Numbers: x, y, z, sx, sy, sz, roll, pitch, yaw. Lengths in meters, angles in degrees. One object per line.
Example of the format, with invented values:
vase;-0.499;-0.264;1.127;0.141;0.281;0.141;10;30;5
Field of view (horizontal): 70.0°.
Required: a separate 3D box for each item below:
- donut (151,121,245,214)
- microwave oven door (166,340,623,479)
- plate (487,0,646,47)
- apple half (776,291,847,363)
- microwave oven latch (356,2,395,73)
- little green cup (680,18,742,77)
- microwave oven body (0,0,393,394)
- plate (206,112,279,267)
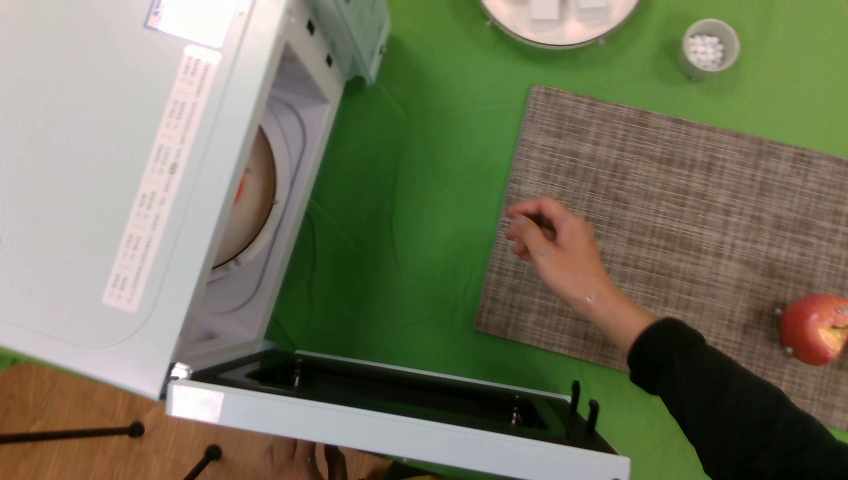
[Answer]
donut;-0.239;-0.076;0.643;0.099;0.048;0.099;0;89;3
microwave oven door;-0.019;0.152;0.573;0.356;0.244;0.039;9;86;3
plate;0.166;-0.325;0.713;0.207;0.039;0.207;0;87;3
apple half;0.416;0.087;0.656;0.053;0.075;0.081;34;92;8
microwave oven latch;-0.057;-0.236;0.698;0.030;0.029;0.079;21;88;3
little green cup;0.328;-0.220;0.699;0.061;0.039;0.061;0;86;3
microwave oven body;-0.257;-0.120;0.604;0.326;0.260;0.441;18;88;3
plate;-0.258;-0.071;0.652;0.209;0.038;0.209;0;87;1
